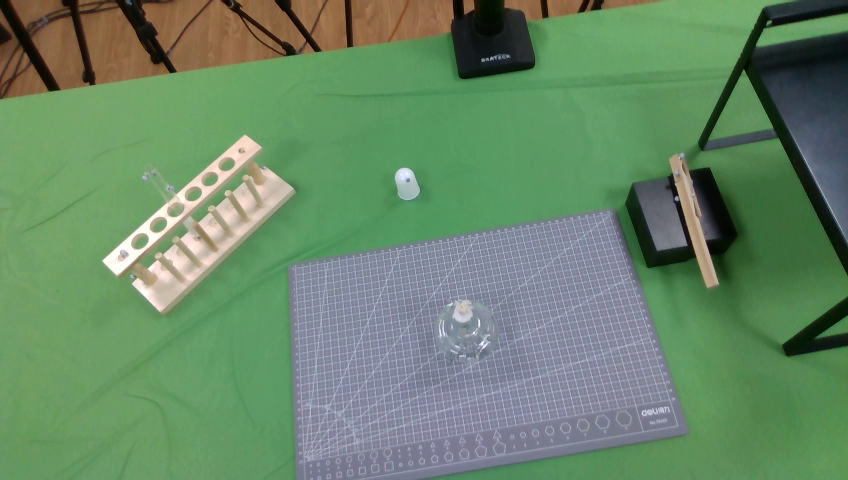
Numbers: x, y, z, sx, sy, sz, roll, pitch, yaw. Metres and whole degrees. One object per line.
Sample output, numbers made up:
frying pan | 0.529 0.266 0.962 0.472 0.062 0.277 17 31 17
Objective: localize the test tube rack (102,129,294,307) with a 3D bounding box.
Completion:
test tube rack | -0.295 -0.031 0.815 0.066 0.086 0.242 37 73 20

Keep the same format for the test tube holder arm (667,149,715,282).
test tube holder arm | 0.324 -0.033 0.736 0.013 0.015 0.177 11 61 -25

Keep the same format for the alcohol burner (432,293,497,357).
alcohol burner | 0.046 0.093 0.705 0.078 0.120 0.077 -3 62 6

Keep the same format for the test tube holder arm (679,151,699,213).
test tube holder arm | 0.327 -0.072 0.759 0.010 0.015 0.087 11 61 -25

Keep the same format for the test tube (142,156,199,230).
test tube | -0.318 -0.056 0.773 0.017 0.151 0.017 -2 60 3

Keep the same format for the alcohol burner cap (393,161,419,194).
alcohol burner cap | -0.027 -0.090 0.842 0.034 0.048 0.033 -4 60 7
